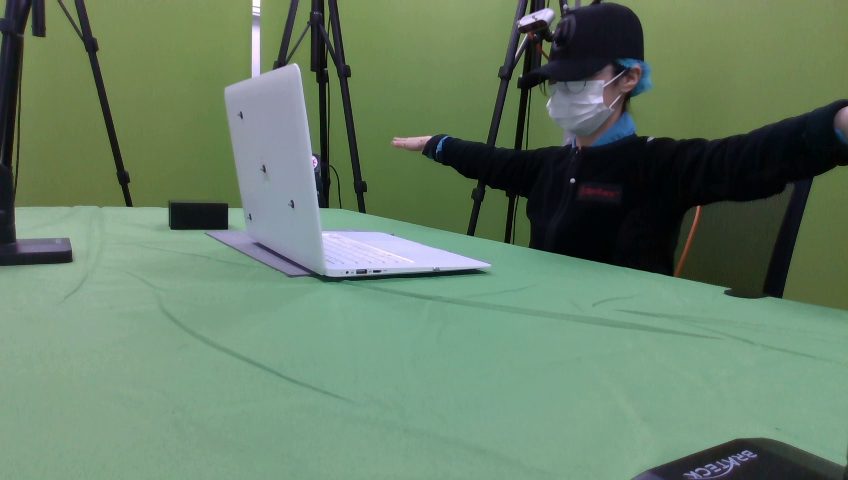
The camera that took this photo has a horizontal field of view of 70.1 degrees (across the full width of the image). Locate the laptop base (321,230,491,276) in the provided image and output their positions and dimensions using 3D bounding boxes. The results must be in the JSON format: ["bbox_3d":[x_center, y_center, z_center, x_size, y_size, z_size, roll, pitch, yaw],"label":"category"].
[{"bbox_3d":[-0.095,0.015,0.888,0.237,0.023,0.352,2,7,-30],"label":"laptop base"}]

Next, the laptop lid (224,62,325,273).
[{"bbox_3d":[-0.210,-0.097,0.804,0.013,0.241,0.355,-12,15,-28],"label":"laptop lid"}]
